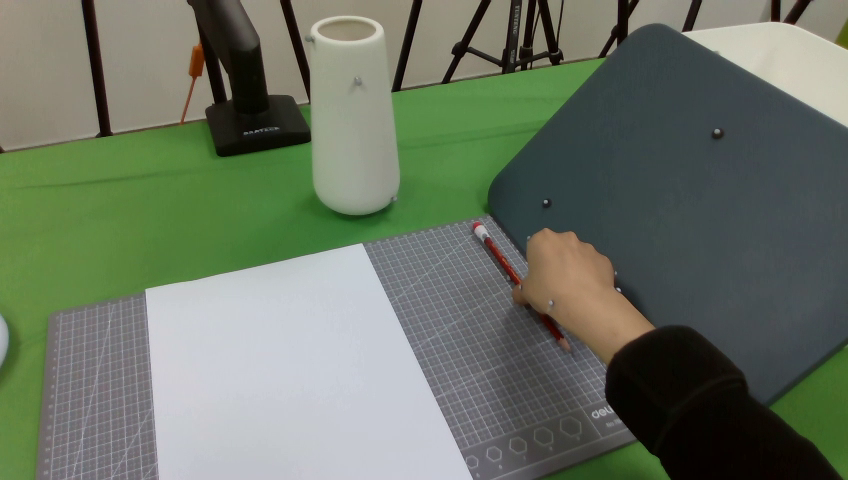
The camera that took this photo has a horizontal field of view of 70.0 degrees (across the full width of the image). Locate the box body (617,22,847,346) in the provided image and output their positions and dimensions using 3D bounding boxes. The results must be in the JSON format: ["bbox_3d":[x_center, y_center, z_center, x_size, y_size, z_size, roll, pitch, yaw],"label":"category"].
[{"bbox_3d":[0.385,-0.077,0.635,0.255,0.162,0.359,-13,43,-17],"label":"box body"}]

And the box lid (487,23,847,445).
[{"bbox_3d":[0.222,-0.032,0.550,0.015,0.263,0.367,29,20,-42],"label":"box lid"}]

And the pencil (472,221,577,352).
[{"bbox_3d":[0.094,0.040,0.595,0.012,0.012,0.192,-15,44,-19],"label":"pencil"}]

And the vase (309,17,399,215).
[{"bbox_3d":[-0.077,-0.125,0.640,0.098,0.202,0.097,0,40,0],"label":"vase"}]

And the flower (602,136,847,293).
[{"bbox_3d":[0.349,-0.018,0.671,0.358,0.038,0.044,40,17,29],"label":"flower"}]

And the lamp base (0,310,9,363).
[{"bbox_3d":[-0.436,0.037,0.445,0.178,0.182,0.160,25,45,28],"label":"lamp base"}]
